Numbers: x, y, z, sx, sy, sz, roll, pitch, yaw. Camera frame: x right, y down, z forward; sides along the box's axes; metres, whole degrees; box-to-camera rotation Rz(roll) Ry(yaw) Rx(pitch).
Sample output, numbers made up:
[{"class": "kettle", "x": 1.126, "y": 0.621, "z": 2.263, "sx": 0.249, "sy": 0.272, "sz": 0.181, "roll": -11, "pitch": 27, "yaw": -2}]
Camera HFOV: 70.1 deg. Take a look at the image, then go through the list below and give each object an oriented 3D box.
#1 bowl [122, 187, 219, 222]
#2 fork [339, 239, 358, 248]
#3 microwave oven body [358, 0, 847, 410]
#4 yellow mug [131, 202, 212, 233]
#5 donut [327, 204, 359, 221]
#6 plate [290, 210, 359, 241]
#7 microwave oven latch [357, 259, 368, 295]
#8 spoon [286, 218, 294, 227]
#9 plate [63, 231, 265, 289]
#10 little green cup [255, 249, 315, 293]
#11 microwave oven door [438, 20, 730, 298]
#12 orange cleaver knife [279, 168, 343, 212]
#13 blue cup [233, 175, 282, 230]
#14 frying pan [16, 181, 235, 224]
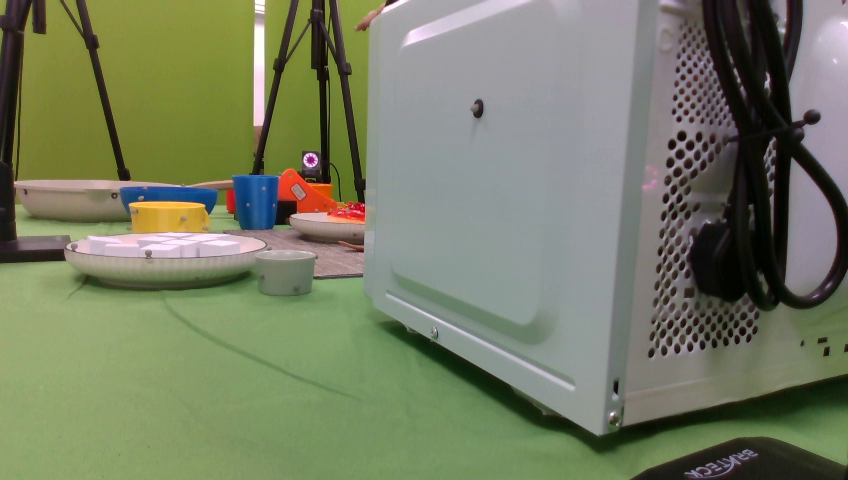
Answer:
[{"class": "bowl", "x": -0.421, "y": -0.046, "z": 1.012, "sx": 0.151, "sy": 0.077, "sz": 0.151, "roll": 2, "pitch": 8, "yaw": 0}, {"class": "fork", "x": -0.027, "y": 0.003, "z": 0.925, "sx": 0.208, "sy": 0.018, "sz": 0.028, "roll": -2, "pitch": -2, "yaw": -19}, {"class": "microwave oven body", "x": 0.210, "y": -0.051, "z": 0.471, "sx": 0.444, "sy": 0.260, "sz": 0.324, "roll": -1, "pitch": 7, "yaw": -28}, {"class": "yellow mug", "x": -0.356, "y": -0.020, "z": 0.878, "sx": 0.099, "sy": 0.064, "sz": 0.131, "roll": 5, "pitch": 7, "yaw": 21}, {"class": "donut", "x": -0.120, "y": -0.037, "z": 1.056, "sx": 0.099, "sy": 0.048, "sz": 0.099, "roll": 5, "pitch": 6, "yaw": 0}, {"class": "plate", "x": -0.127, "y": -0.025, "z": 1.051, "sx": 0.209, "sy": 0.038, "sz": 0.209, "roll": 2, "pitch": 7, "yaw": 0}, {"class": "microwave oven latch", "x": -0.019, "y": 0.031, "z": 0.529, "sx": 0.079, "sy": 0.029, "sz": 0.030, "roll": -1, "pitch": 7, "yaw": -26}, {"class": "spoon", "x": -0.180, "y": -0.036, "z": 1.209, "sx": 0.195, "sy": 0.021, "sz": 0.041, "roll": -3, "pitch": -11, "yaw": -31}, {"class": "plate", "x": -0.288, "y": 0.021, "z": 0.687, "sx": 0.208, "sy": 0.039, "sz": 0.207, "roll": 2, "pitch": 8, "yaw": 0}, {"class": "little green cup", "x": -0.144, "y": 0.032, "z": 0.627, "sx": 0.061, "sy": 0.038, "sz": 0.061, "roll": 2, "pitch": 5, "yaw": 0}, {"class": "microwave oven door", "x": 0.181, "y": -0.076, "z": 0.618, "sx": 0.358, "sy": 0.243, "sz": 0.039, "roll": -2, "pitch": 8, "yaw": -28}, {"class": "orange cleaver knife", "x": -0.236, "y": -0.084, "z": 1.332, "sx": 0.212, "sy": 0.077, "sz": 0.012, "roll": 31, "pitch": -10, "yaw": -31}, {"class": "blue cup", "x": -0.314, "y": -0.071, "z": 1.141, "sx": 0.093, "sy": 0.100, "sz": 0.092, "roll": 0, "pitch": 7, "yaw": 0}, {"class": "frying pan", "x": -0.554, "y": -0.097, "z": 1.266, "sx": 0.490, "sy": 0.102, "sz": 0.305, "roll": -10, "pitch": 13, "yaw": -24}]
